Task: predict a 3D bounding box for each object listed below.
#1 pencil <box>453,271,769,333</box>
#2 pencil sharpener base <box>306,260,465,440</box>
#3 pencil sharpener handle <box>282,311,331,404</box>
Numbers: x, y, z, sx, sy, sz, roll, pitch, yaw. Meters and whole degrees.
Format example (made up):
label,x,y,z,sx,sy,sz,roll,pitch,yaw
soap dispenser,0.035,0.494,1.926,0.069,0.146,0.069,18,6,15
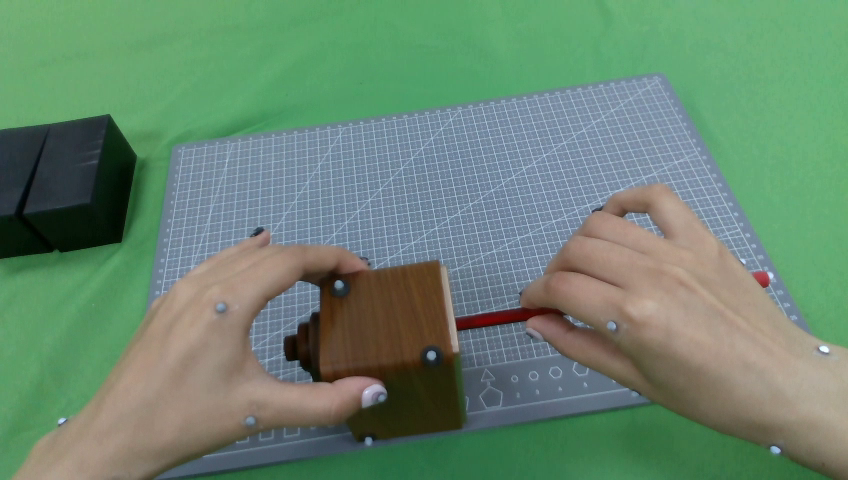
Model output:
label,x,y,z,sx,sy,sz,roll,pitch,yaw
pencil,0.086,0.035,0.324,0.194,0.012,0.012,-9,53,1
pencil sharpener base,-0.019,0.068,0.351,0.077,0.108,0.060,-8,54,0
pencil sharpener handle,-0.071,0.070,0.339,0.030,0.068,0.035,-8,43,1
